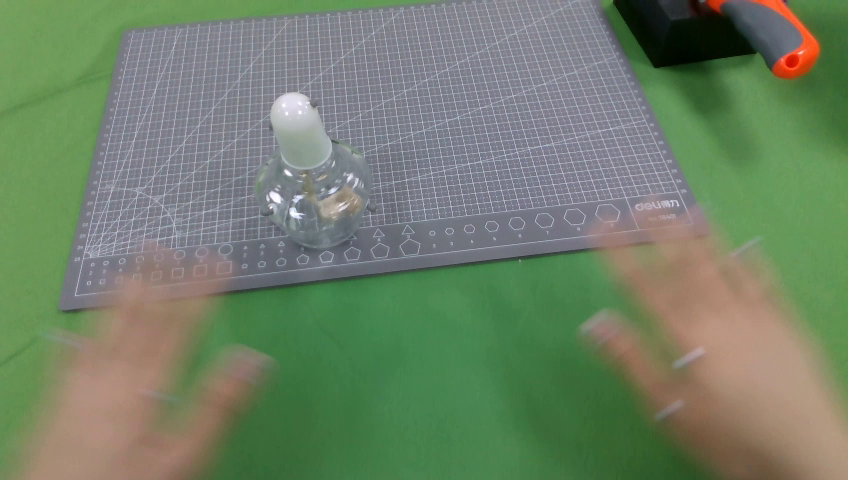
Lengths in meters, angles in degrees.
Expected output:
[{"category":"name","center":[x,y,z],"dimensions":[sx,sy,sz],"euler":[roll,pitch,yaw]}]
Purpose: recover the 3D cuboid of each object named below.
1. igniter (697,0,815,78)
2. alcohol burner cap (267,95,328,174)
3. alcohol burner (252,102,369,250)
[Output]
[{"category":"igniter","center":[0.246,-0.229,0.516],"dimensions":[0.057,0.025,0.273],"euler":[-11,54,-4]},{"category":"alcohol burner cap","center":[-0.078,-0.066,0.365],"dimensions":[0.034,0.048,0.033],"euler":[0,59,1]},{"category":"alcohol burner","center":[-0.077,-0.046,0.394],"dimensions":[0.078,0.120,0.077],"euler":[0,57,1]}]
